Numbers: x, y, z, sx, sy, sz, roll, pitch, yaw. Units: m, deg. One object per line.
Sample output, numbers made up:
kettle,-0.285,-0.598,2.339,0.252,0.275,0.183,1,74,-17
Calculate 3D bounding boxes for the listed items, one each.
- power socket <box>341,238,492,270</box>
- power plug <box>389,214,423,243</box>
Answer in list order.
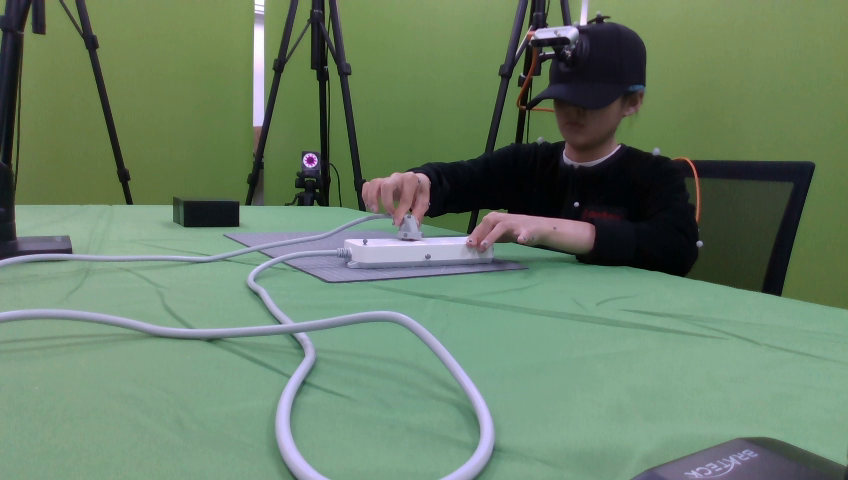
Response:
power socket,-0.007,0.017,0.831,0.228,0.032,0.072,-1,9,-28
power plug,-0.026,-0.009,0.850,0.035,0.052,0.072,2,7,-16
